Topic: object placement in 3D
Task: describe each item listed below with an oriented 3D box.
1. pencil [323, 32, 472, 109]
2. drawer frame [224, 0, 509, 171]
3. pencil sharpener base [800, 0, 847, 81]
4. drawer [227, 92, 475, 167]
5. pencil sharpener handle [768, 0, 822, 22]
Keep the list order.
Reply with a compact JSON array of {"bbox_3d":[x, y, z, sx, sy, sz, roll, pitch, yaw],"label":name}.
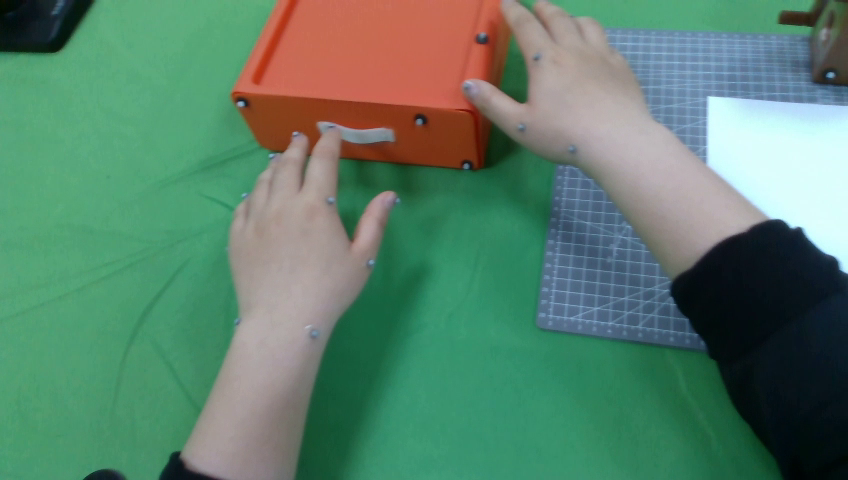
[{"bbox_3d":[-0.031,-0.160,0.556,0.192,0.012,0.012,34,71,29],"label":"pencil"},{"bbox_3d":[-0.038,-0.174,0.529,0.201,0.083,0.212,6,61,12],"label":"drawer frame"},{"bbox_3d":[0.338,-0.176,0.457,0.076,0.108,0.061,8,63,14],"label":"pencil sharpener base"},{"bbox_3d":[-0.037,-0.171,0.530,0.194,0.074,0.210,6,61,13],"label":"drawer"},{"bbox_3d":[0.288,-0.191,0.458,0.030,0.068,0.036,8,70,14],"label":"pencil sharpener handle"}]
